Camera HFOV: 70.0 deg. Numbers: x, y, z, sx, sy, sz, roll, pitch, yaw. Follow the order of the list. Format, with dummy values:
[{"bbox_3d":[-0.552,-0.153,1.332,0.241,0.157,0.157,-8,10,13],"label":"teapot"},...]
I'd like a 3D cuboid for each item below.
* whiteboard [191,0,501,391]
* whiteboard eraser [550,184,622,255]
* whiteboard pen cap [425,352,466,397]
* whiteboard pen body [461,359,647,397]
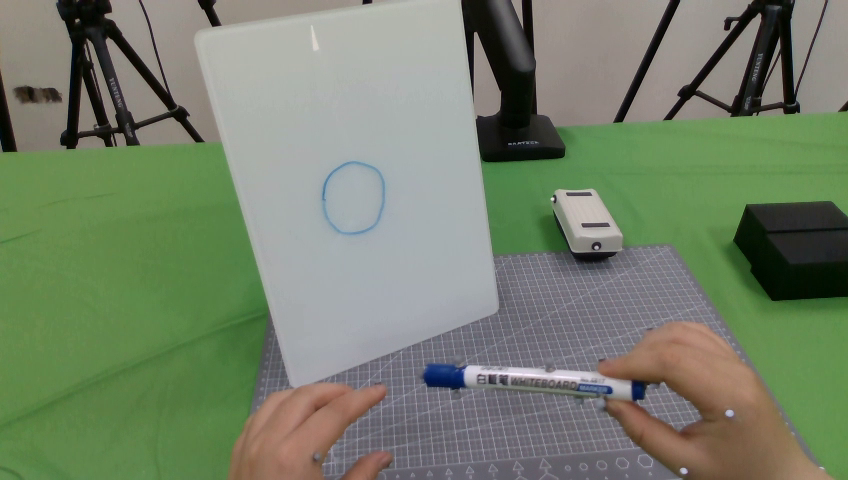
[{"bbox_3d":[-0.071,-0.056,0.574,0.218,0.307,0.142,-18,22,-20],"label":"whiteboard"},{"bbox_3d":[0.185,-0.025,0.700,0.055,0.042,0.111,-4,34,-1],"label":"whiteboard eraser"},{"bbox_3d":[0.015,0.093,0.418,0.018,0.033,0.018,25,32,-16],"label":"whiteboard pen cap"},{"bbox_3d":[0.070,0.087,0.391,0.140,0.017,0.017,-3,33,31],"label":"whiteboard pen body"}]
